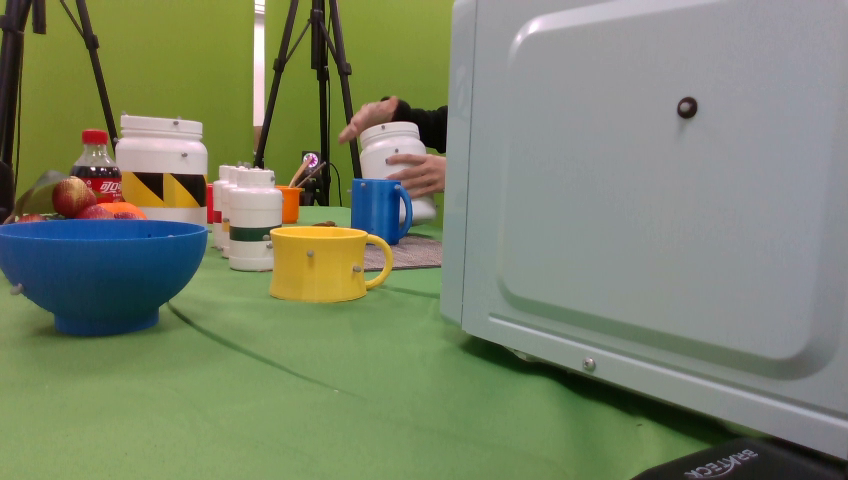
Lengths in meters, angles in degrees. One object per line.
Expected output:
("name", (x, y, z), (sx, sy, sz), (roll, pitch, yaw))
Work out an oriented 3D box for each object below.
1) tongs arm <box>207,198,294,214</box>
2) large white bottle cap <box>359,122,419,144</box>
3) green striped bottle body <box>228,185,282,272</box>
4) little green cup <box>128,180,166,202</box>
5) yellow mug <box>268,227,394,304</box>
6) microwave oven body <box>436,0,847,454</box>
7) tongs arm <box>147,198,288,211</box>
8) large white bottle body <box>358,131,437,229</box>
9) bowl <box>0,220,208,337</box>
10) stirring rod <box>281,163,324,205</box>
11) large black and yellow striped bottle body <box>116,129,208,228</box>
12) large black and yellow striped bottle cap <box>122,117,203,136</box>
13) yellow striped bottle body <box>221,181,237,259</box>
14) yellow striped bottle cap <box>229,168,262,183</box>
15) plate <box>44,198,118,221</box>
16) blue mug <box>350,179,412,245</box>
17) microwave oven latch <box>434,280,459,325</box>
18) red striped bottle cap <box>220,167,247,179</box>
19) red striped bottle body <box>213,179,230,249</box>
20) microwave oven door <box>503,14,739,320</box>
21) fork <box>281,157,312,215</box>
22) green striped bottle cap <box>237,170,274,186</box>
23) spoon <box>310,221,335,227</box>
("tongs arm", (-0.423, -0.084, 1.472), (0.050, 0.026, 0.386), (1, 6, 22))
("large white bottle cap", (-0.067, -0.201, 1.161), (0.115, 0.018, 0.115), (-9, -4, 0))
("green striped bottle body", (-0.208, -0.023, 0.745), (0.063, 0.119, 0.063), (2, 7, 0))
("little green cup", (-0.485, -0.087, 1.062), (0.061, 0.038, 0.061), (-1, 6, 0))
("yellow mug", (-0.094, 0.023, 0.630), (0.131, 0.064, 0.099), (0, 8, -22))
("microwave oven body", (0.279, -0.040, 0.464), (0.444, 0.260, 0.324), (-3, 9, -41))
("tongs arm", (-0.503, -0.090, 1.513), (0.028, 0.028, 0.389), (-1, 3, 38))
("large white bottle body", (-0.053, -0.119, 1.155), (0.131, 0.184, 0.130), (-11, -5, -1))
("bowl", (-0.251, 0.029, 0.479), (0.151, 0.077, 0.151), (2, 7, 0))
("stirring rod", (-0.278, -0.105, 1.293), (0.176, 0.006, 0.014), (-47, 25, -19))
("large black and yellow striped bottle body", (-0.404, -0.089, 0.937), (0.131, 0.184, 0.130), (3, 7, 0))
("large black and yellow striped bottle cap", (-0.399, -0.174, 0.927), (0.115, 0.019, 0.115), (5, 9, -1))
("yellow striped bottle body", (-0.244, -0.035, 0.824), (0.063, 0.120, 0.063), (2, 8, 0))
("yellow striped bottle cap", (-0.240, -0.087, 0.816), (0.044, 0.018, 0.044), (-3, 5, 1))
("plate", (-0.617, -0.056, 1.179), (0.209, 0.038, 0.209), (3, 7, 0))
("blue mug", (-0.068, -0.046, 1.000), (0.116, 0.106, 0.083), (8, 9, 32))
("microwave oven latch", (0.044, 0.045, 0.470), (0.079, 0.029, 0.030), (-2, 8, -39))
("red striped bottle cap", (-0.281, -0.100, 0.901), (0.044, 0.017, 0.044), (-1, 5, 0))
("red striped bottle body", (-0.284, -0.048, 0.909), (0.063, 0.119, 0.063), (3, 10, 0))
("microwave oven door", (0.218, -0.065, 0.600), (0.358, 0.243, 0.039), (-4, 10, -41))
("fork", (-0.290, -0.116, 1.321), (0.028, 0.019, 0.207), (7, 51, 18))
("green striped bottle cap", (-0.205, -0.075, 0.737), (0.044, 0.020, 0.044), (1, 6, 0))
("spoon", (-0.185, -0.027, 1.131), (0.041, 0.021, 0.193), (-18, 6, 2))
